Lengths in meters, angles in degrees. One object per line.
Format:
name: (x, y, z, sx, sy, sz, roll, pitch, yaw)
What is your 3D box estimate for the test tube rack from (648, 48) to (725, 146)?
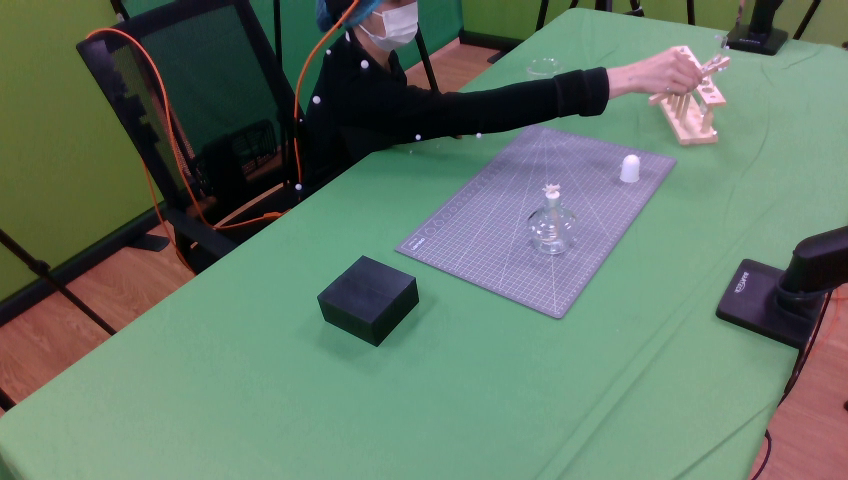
test tube rack: (0.508, -0.285, 1.186, 0.067, 0.085, 0.241, -4, 40, 6)

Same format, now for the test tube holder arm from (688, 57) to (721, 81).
test tube holder arm: (0.492, -0.295, 1.061, 0.088, 0.015, 0.010, -36, 44, -22)

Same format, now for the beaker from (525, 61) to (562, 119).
beaker: (0.248, -0.308, 1.246, 0.073, 0.101, 0.084, 29, 52, 36)

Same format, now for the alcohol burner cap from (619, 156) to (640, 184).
alcohol burner cap: (0.358, -0.124, 1.047, 0.034, 0.048, 0.033, -4, 40, 4)

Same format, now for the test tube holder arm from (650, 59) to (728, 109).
test tube holder arm: (0.459, -0.270, 1.043, 0.179, 0.015, 0.013, -31, 41, -16)

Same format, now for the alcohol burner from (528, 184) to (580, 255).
alcohol burner: (0.196, -0.036, 0.911, 0.078, 0.119, 0.077, -6, 41, 5)

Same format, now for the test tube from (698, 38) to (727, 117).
test tube: (0.514, -0.288, 1.081, 0.017, 0.151, 0.017, -3, 43, 3)
